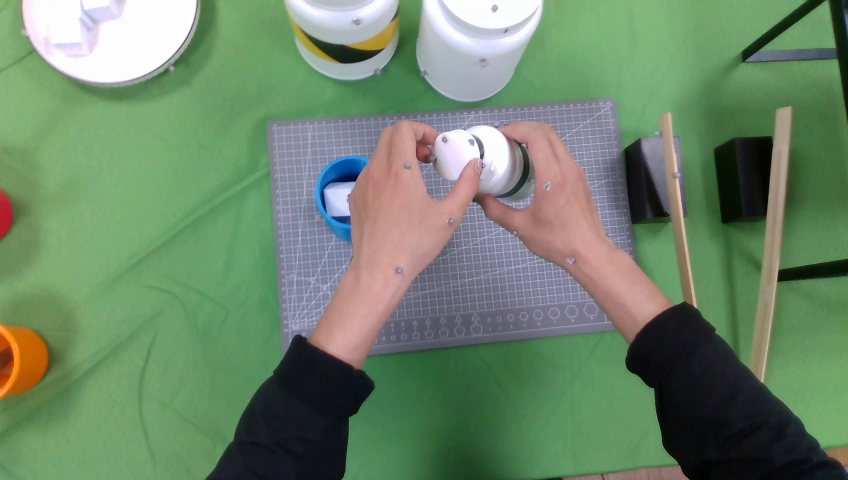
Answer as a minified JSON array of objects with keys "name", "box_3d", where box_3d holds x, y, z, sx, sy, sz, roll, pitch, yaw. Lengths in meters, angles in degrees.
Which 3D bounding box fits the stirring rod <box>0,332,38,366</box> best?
[{"name":"stirring rod","box_3d":[-0.485,0.153,0.632,0.014,0.006,0.175,42,39,-2]}]

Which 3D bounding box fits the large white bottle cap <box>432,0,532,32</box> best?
[{"name":"large white bottle cap","box_3d":[0.060,-0.269,0.617,0.115,0.018,0.114,1,82,-5]}]

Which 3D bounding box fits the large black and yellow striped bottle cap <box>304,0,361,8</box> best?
[{"name":"large black and yellow striped bottle cap","box_3d":[-0.094,-0.292,0.609,0.115,0.019,0.114,1,84,-6]}]

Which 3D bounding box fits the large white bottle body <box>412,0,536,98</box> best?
[{"name":"large white bottle body","box_3d":[0.055,-0.257,0.700,0.131,0.185,0.130,1,83,-4]}]

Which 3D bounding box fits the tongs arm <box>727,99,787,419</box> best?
[{"name":"tongs arm","box_3d":[0.408,0.026,0.736,0.028,0.027,0.387,3,94,-12]}]

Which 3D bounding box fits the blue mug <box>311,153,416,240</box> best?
[{"name":"blue mug","box_3d":[-0.067,-0.047,0.703,0.117,0.106,0.082,2,82,-4]}]

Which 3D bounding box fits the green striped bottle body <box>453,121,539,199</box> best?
[{"name":"green striped bottle body","box_3d":[0.066,-0.078,0.596,0.063,0.120,0.063,-2,85,29]}]

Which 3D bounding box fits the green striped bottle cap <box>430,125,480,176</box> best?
[{"name":"green striped bottle cap","box_3d":[0.027,-0.078,0.533,0.020,0.044,0.044,-20,83,-48]}]

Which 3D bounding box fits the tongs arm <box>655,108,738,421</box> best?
[{"name":"tongs arm","box_3d":[0.327,0.033,0.726,0.051,0.026,0.385,-10,96,-8]}]

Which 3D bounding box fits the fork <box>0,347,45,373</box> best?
[{"name":"fork","box_3d":[-0.512,0.117,0.629,0.209,0.018,0.028,21,77,-45]}]

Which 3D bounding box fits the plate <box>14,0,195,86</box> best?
[{"name":"plate","box_3d":[-0.384,-0.286,0.743,0.208,0.039,0.207,1,83,-4]}]

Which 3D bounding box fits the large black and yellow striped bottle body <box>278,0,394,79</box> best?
[{"name":"large black and yellow striped bottle body","box_3d":[-0.099,-0.279,0.691,0.131,0.184,0.130,1,82,-4]}]
